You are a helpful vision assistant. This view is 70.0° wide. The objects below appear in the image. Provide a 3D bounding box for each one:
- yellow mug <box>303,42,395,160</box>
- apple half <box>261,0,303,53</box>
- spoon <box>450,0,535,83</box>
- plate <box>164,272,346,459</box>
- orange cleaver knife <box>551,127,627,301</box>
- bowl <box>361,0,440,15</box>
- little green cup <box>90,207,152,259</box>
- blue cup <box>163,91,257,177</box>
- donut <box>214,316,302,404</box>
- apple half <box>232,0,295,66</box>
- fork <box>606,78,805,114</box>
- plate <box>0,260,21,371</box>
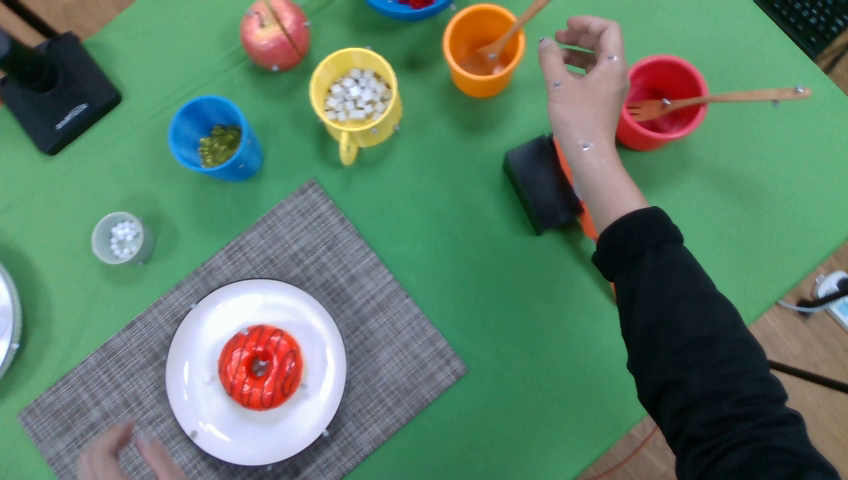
[{"bbox_3d":[-0.089,-0.159,0.716,0.100,0.064,0.130,8,84,3],"label":"yellow mug"},{"bbox_3d":[-0.165,-0.267,0.728,0.033,0.081,0.081,-33,82,-2],"label":"apple half"},{"bbox_3d":[0.095,-0.244,0.677,0.022,0.194,0.041,-22,79,-45],"label":"spoon"},{"bbox_3d":[-0.190,0.140,0.695,0.209,0.038,0.208,0,83,3],"label":"plate"},{"bbox_3d":[0.184,-0.027,0.680,0.012,0.076,0.213,-25,112,1],"label":"orange cleaver knife"},{"bbox_3d":[-0.026,-0.331,0.728,0.151,0.077,0.151,0,84,3],"label":"bowl"},{"bbox_3d":[-0.360,-0.006,0.724,0.061,0.039,0.061,0,83,3],"label":"little green cup"},{"bbox_3d":[-0.237,-0.114,0.700,0.092,0.100,0.092,0,84,1],"label":"blue cup"},{"bbox_3d":[-0.187,0.136,0.685,0.099,0.048,0.099,0,85,4],"label":"donut"},{"bbox_3d":[-0.198,-0.243,0.728,0.053,0.075,0.080,-34,86,1],"label":"apple half"},{"bbox_3d":[0.296,-0.159,0.659,0.206,0.019,0.028,3,67,45],"label":"fork"},{"bbox_3d":[-0.578,0.097,0.722,0.207,0.039,0.207,0,83,3],"label":"plate"}]
